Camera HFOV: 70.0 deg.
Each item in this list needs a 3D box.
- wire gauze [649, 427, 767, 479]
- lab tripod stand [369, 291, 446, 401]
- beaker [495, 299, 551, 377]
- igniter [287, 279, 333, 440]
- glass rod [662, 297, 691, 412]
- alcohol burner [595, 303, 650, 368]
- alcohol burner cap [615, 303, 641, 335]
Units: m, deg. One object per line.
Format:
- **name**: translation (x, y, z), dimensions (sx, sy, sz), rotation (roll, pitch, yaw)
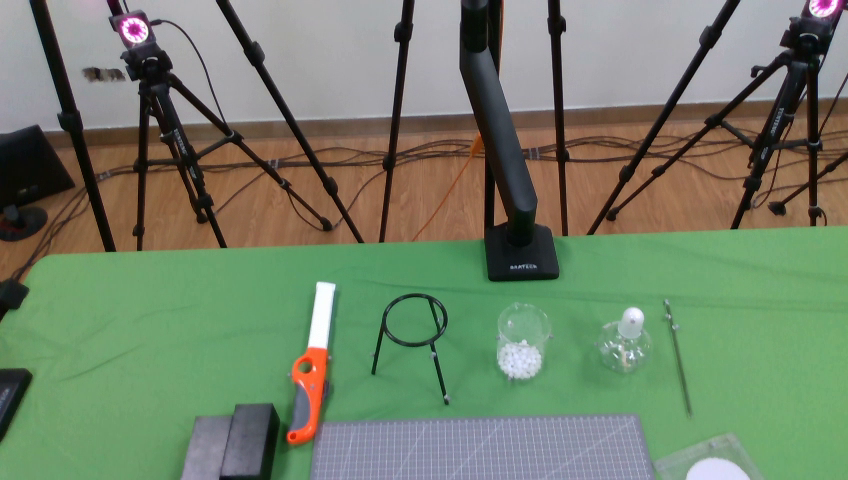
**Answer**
- **wire gauze**: translation (0.376, 0.312, 0.778), dimensions (0.125, 0.011, 0.120), rotation (-17, 49, -9)
- **lab tripod stand**: translation (-0.012, 0.143, 0.866), dimensions (0.148, 0.133, 0.147), rotation (-2, 46, 3)
- **beaker**: translation (0.139, 0.145, 0.880), dimensions (0.074, 0.101, 0.083), rotation (-9, 47, -5)
- **igniter**: translation (-0.168, 0.172, 0.918), dimensions (0.057, 0.025, 0.273), rotation (9, 47, -9)
- **glass rod**: translation (0.377, 0.166, 0.909), dimensions (0.008, 0.008, 0.198), rotation (2, 48, 5)
- **alcohol burner**: translation (0.289, 0.132, 0.874), dimensions (0.078, 0.120, 0.077), rotation (-1, 46, 2)
- **alcohol burner cap**: translation (0.288, 0.108, 0.847), dimensions (0.034, 0.048, 0.033), rotation (-3, 52, 4)
